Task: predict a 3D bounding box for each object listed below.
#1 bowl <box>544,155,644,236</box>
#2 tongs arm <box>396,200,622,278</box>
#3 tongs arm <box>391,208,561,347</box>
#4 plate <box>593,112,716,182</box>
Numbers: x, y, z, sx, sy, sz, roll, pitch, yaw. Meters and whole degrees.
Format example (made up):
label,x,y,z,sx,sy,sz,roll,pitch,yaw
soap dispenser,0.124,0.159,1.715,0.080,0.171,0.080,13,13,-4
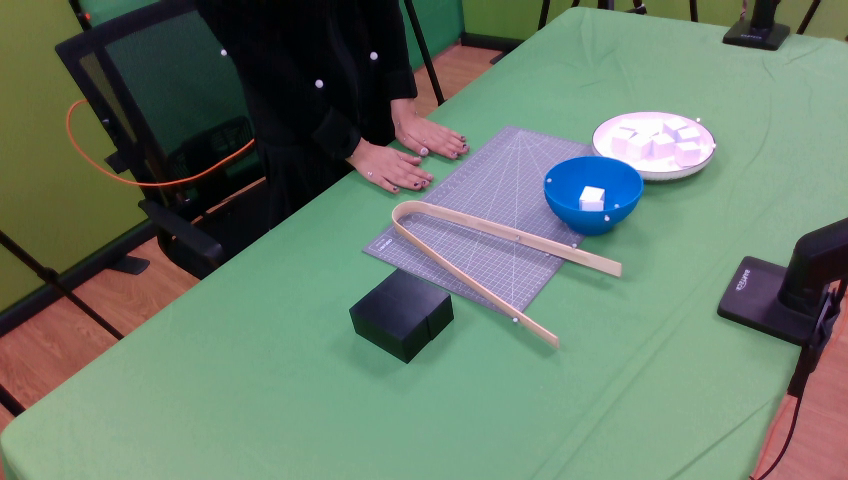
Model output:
label,x,y,z,sx,sy,sz,roll,pitch,yaw
bowl,0.266,-0.061,0.957,0.151,0.077,0.150,-5,40,5
tongs arm,0.117,-0.002,0.947,0.381,0.026,0.051,22,53,32
tongs arm,0.060,0.046,0.906,0.028,0.028,0.384,-37,47,-19
plate,0.408,-0.163,1.084,0.207,0.039,0.206,-4,40,4
